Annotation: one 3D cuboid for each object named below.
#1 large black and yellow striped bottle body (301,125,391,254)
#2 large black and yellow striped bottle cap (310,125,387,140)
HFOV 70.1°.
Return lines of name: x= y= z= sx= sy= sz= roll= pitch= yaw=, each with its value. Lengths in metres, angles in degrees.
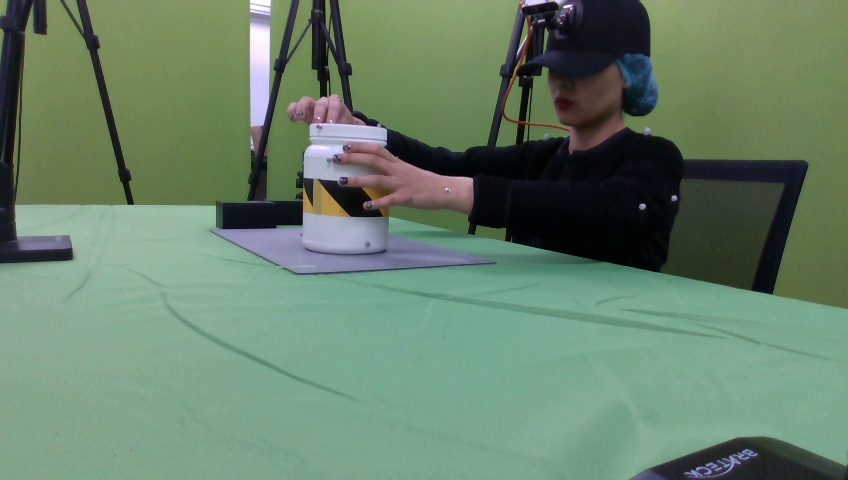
large black and yellow striped bottle body: x=-0.116 y=-0.077 z=0.912 sx=0.131 sy=0.184 sz=0.130 roll=3 pitch=7 yaw=0
large black and yellow striped bottle cap: x=-0.111 y=-0.159 z=0.900 sx=0.115 sy=0.019 sz=0.115 roll=2 pitch=8 yaw=0
